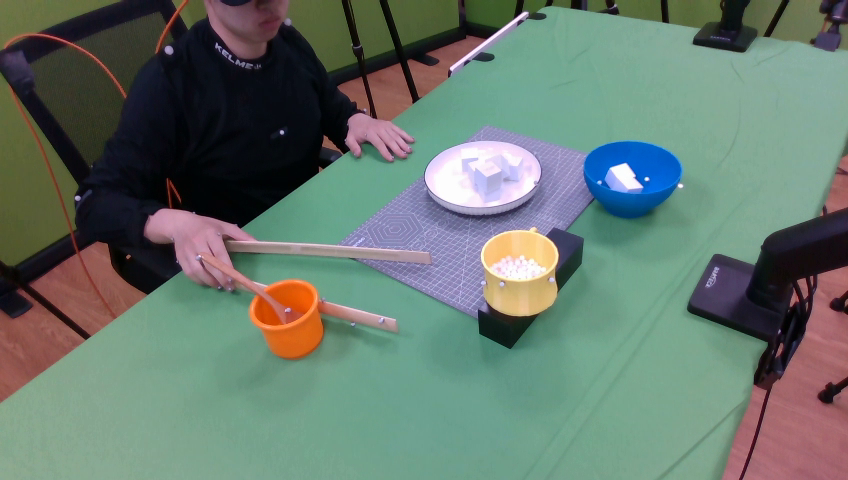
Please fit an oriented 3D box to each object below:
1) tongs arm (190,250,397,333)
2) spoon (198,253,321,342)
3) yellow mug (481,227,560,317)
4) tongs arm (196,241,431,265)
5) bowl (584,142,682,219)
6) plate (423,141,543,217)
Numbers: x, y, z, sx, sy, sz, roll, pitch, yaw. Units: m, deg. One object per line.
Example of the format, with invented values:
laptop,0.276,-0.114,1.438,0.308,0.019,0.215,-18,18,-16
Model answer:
tongs arm,-0.204,0.072,0.903,0.383,0.026,0.051,10,45,21
spoon,-0.220,0.075,0.814,0.021,0.194,0.041,-37,18,39
yellow mug,0.131,0.032,0.801,0.099,0.064,0.131,11,43,20
tongs arm,-0.178,0.023,0.957,0.386,0.028,0.028,2,46,12
bowl,0.333,-0.087,0.980,0.151,0.077,0.150,-4,40,4
plate,0.103,-0.103,1.059,0.207,0.039,0.206,-4,40,4
